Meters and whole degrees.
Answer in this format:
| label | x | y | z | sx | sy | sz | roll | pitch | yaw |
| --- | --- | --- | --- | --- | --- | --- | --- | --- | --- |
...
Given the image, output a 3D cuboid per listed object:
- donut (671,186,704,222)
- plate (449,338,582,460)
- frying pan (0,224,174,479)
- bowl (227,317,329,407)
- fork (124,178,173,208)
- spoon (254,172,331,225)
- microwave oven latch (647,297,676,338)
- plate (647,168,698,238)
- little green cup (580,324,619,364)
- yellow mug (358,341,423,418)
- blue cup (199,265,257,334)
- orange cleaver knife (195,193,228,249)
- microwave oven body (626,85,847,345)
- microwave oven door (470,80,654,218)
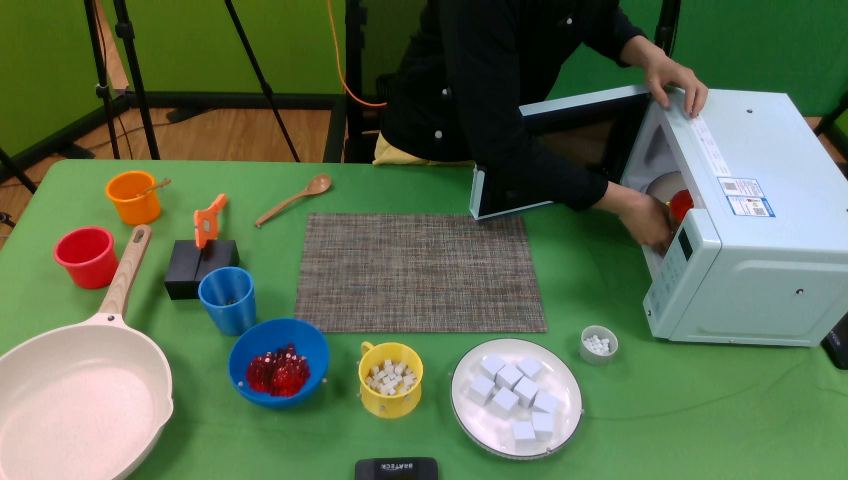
| label | x | y | z | sx | sy | sz | roll | pitch | yaw |
| --- | --- | --- | --- | --- | --- | --- | --- | --- | --- |
| donut | 0.527 | -0.065 | 1.166 | 0.099 | 0.048 | 0.098 | -4 | 46 | 4 |
| plate | 0.141 | 0.251 | 0.955 | 0.208 | 0.039 | 0.206 | 2 | 46 | -2 |
| frying pan | -0.505 | 0.169 | 0.941 | 0.307 | 0.103 | 0.485 | 5 | 54 | -1 |
| bowl | -0.222 | 0.203 | 0.947 | 0.151 | 0.077 | 0.150 | 2 | 46 | -2 |
| fork | -0.525 | -0.090 | 1.154 | 0.207 | 0.019 | 0.028 | -17 | 27 | 45 |
| spoon | -0.272 | -0.087 | 1.257 | 0.041 | 0.022 | 0.193 | 45 | 57 | 13 |
| microwave oven latch | 0.413 | 0.133 | 1.060 | 0.030 | 0.029 | 0.078 | 5 | 46 | 2 |
| plate | 0.537 | -0.059 | 1.176 | 0.209 | 0.038 | 0.208 | -1 | 47 | 1 |
| little green cup | 0.296 | 0.179 | 1.031 | 0.061 | 0.039 | 0.061 | 2 | 45 | -2 |
| yellow mug | -0.062 | 0.210 | 0.961 | 0.100 | 0.064 | 0.130 | -29 | 54 | -27 |
| blue cup | -0.320 | 0.106 | 1.015 | 0.093 | 0.101 | 0.092 | 2 | 48 | -2 |
| orange cleaver knife | -0.406 | -0.041 | 1.163 | 0.012 | 0.077 | 0.210 | -1 | 18 | -3 |
| microwave oven body | 0.568 | -0.054 | 1.115 | 0.326 | 0.261 | 0.439 | 2 | 46 | -1 |
| microwave oven door | 0.272 | -0.180 | 1.206 | 0.356 | 0.245 | 0.039 | -14 | 49 | -16 |
